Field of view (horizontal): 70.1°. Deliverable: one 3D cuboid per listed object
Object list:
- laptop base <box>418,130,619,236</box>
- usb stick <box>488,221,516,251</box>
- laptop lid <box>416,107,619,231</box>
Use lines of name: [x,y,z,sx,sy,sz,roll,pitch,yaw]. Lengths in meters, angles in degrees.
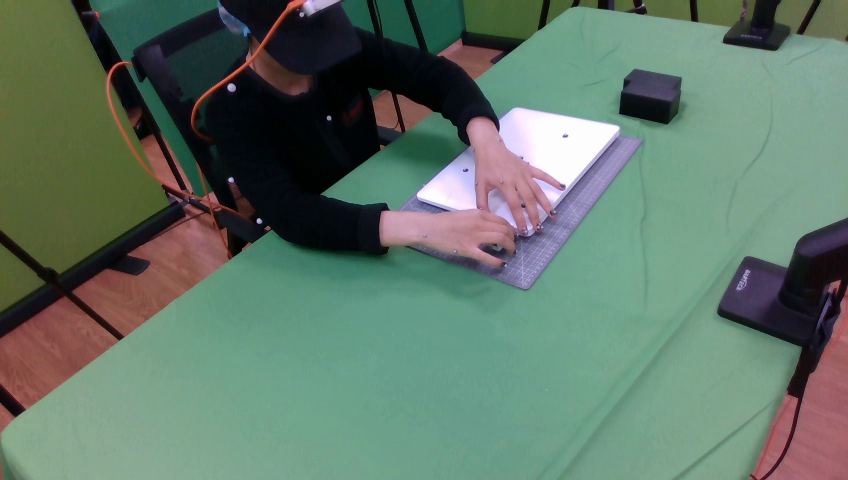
laptop base: [0.180,-0.137,1.112,0.233,0.023,0.355,19,47,33]
usb stick: [0.127,-0.011,0.953,0.021,0.027,0.059,19,45,37]
laptop lid: [0.176,-0.147,1.106,0.239,0.013,0.357,21,48,34]
